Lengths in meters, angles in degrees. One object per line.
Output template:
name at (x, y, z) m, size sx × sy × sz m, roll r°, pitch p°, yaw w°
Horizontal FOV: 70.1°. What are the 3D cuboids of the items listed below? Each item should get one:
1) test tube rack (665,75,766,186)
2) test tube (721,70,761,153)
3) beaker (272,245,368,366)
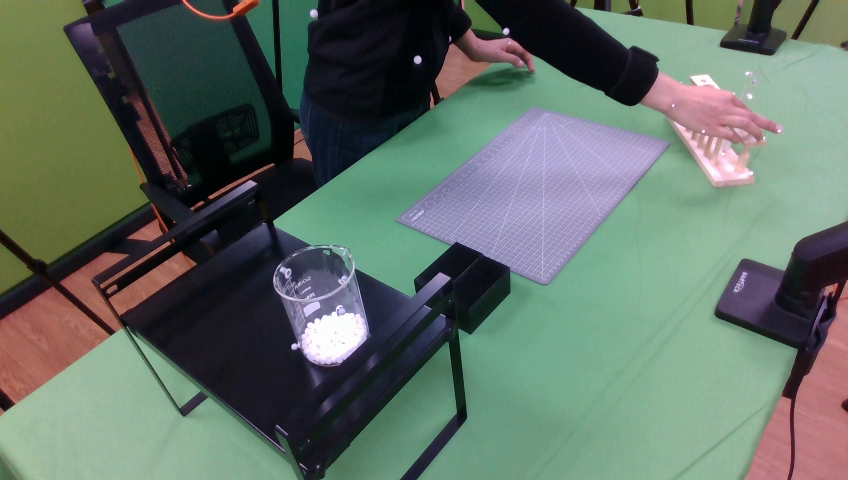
test tube rack at (0.512, -0.202, 1.082) m, size 0.067 × 0.085 × 0.241 m, roll -4°, pitch 40°, yaw 1°
test tube at (0.531, -0.213, 1.016) m, size 0.017 × 0.150 × 0.017 m, roll 2°, pitch 40°, yaw -1°
beaker at (-0.093, 0.064, 0.578) m, size 0.073 × 0.101 × 0.084 m, roll 21°, pitch 48°, yaw 29°
